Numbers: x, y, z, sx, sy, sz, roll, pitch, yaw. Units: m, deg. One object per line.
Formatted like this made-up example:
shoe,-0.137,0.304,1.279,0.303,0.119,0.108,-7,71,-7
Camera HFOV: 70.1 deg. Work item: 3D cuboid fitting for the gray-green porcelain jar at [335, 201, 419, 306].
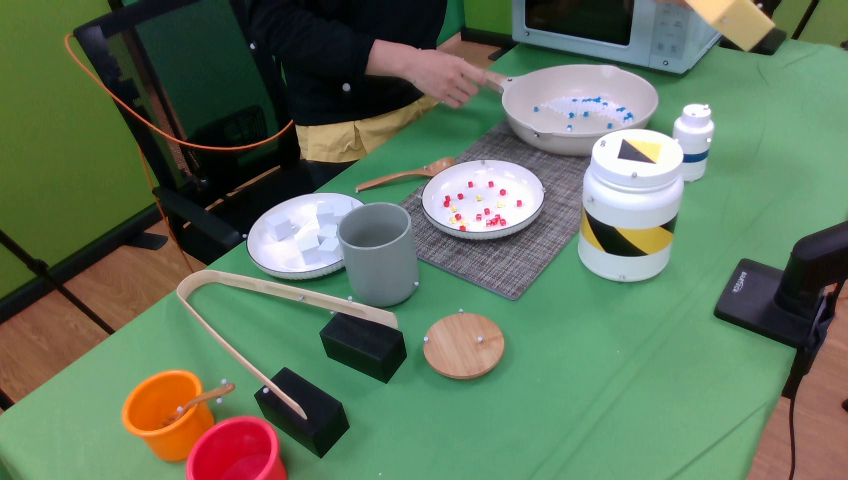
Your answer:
gray-green porcelain jar,-0.064,0.024,0.872,0.106,0.127,0.105,-4,41,4

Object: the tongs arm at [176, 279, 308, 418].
tongs arm,-0.255,0.132,0.801,0.028,0.028,0.384,-41,40,-23

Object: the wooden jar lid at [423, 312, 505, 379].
wooden jar lid,0.053,0.142,0.800,0.108,0.021,0.108,-5,39,4

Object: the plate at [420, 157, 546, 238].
plate,0.099,-0.067,1.017,0.209,0.038,0.208,-4,40,4

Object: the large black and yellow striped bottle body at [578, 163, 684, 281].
large black and yellow striped bottle body,0.292,-0.046,0.859,0.131,0.185,0.130,-4,41,4

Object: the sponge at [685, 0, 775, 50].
sponge,0.491,-0.393,1.000,0.208,0.061,0.117,-4,55,-48

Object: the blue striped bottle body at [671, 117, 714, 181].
blue striped bottle body,0.449,-0.166,1.022,0.063,0.121,0.063,-5,41,4

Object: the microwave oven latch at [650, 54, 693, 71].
microwave oven latch,0.531,-0.386,1.301,0.078,0.029,0.030,25,51,33

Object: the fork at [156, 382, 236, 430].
fork,-0.262,0.189,0.690,0.018,0.206,0.028,49,43,-7

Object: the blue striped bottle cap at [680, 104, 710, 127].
blue striped bottle cap,0.443,-0.204,0.989,0.044,0.021,0.044,-2,41,2

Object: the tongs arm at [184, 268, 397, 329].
tongs arm,-0.202,0.084,0.848,0.382,0.027,0.051,11,45,35

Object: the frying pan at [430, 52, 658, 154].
frying pan,0.215,-0.302,1.224,0.484,0.103,0.308,29,49,24

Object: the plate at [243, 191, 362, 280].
plate,-0.188,-0.005,0.992,0.207,0.039,0.206,-4,41,4

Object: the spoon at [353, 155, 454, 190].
spoon,-0.038,-0.123,1.116,0.194,0.022,0.041,-12,55,-3

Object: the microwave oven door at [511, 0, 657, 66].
microwave oven door,0.351,-0.540,1.349,0.353,0.245,0.039,24,50,31

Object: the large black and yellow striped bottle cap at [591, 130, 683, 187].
large black and yellow striped bottle cap,0.282,-0.111,0.803,0.115,0.019,0.114,-3,41,3

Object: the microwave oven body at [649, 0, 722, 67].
microwave oven body,0.475,-0.602,1.411,0.438,0.261,0.327,23,50,32
